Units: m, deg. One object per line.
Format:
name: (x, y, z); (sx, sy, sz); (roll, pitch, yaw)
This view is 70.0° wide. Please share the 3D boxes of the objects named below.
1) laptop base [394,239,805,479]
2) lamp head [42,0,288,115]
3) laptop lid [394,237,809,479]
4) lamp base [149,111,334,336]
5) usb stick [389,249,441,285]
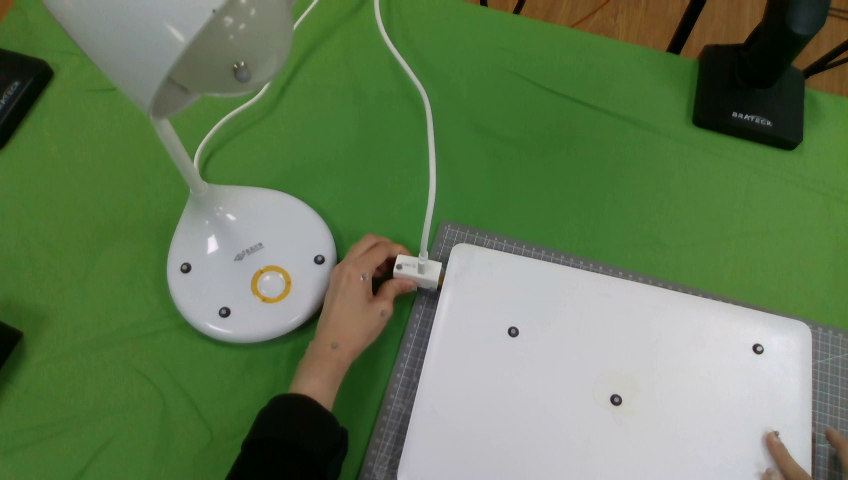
laptop base: (0.169, 0.143, 0.558); (0.354, 0.023, 0.234); (13, 70, 3)
lamp head: (-0.116, -0.129, 0.242); (0.123, 0.112, 0.112); (42, 69, -10)
laptop lid: (0.169, 0.140, 0.546); (0.356, 0.013, 0.240); (15, 70, 3)
lamp base: (-0.176, -0.023, 0.524); (0.178, 0.181, 0.160); (41, 71, 17)
usb stick: (-0.003, 0.028, 0.584); (0.059, 0.027, 0.021); (13, 60, -2)
